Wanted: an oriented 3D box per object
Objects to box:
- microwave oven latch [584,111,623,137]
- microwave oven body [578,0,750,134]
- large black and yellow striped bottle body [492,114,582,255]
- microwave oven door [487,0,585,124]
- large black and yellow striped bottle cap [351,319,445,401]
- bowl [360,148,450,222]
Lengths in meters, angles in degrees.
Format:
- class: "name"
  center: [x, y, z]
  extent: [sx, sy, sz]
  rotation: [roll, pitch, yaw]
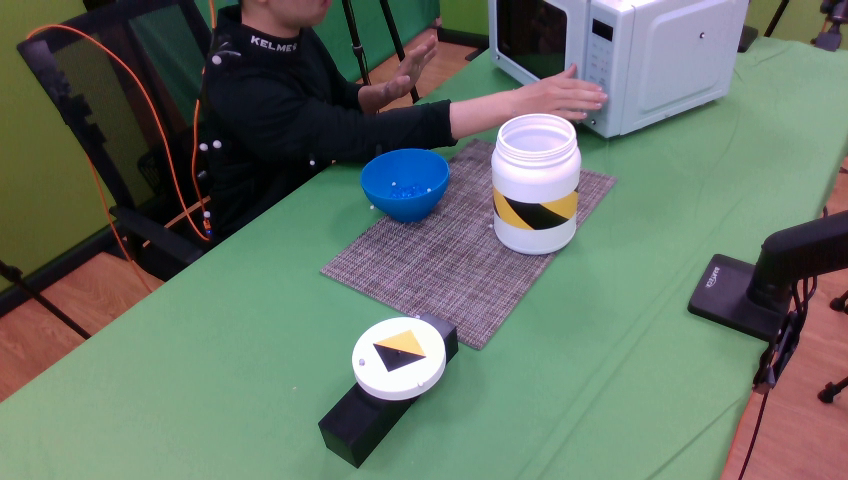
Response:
- class: "microwave oven latch"
  center: [0.337, -0.222, 1.142]
  extent: [0.030, 0.029, 0.078]
  rotation: [-21, 42, -14]
- class: "microwave oven body"
  center: [0.382, -0.444, 1.246]
  extent: [0.327, 0.261, 0.437]
  rotation: [-22, 42, -16]
- class: "large black and yellow striped bottle body"
  center: [0.170, -0.084, 0.913]
  extent: [0.131, 0.185, 0.130]
  rotation: [-4, 41, 4]
- class: "microwave oven door"
  center: [0.227, -0.418, 1.229]
  extent: [0.039, 0.245, 0.352]
  rotation: [-21, 42, -15]
- class: "large black and yellow striped bottle cap"
  center: [-0.031, 0.143, 0.735]
  extent: [0.115, 0.019, 0.114]
  rotation: [-3, 40, 3]
- class: "bowl"
  center: [-0.028, -0.083, 1.022]
  extent: [0.151, 0.077, 0.150]
  rotation: [-4, 40, 4]
